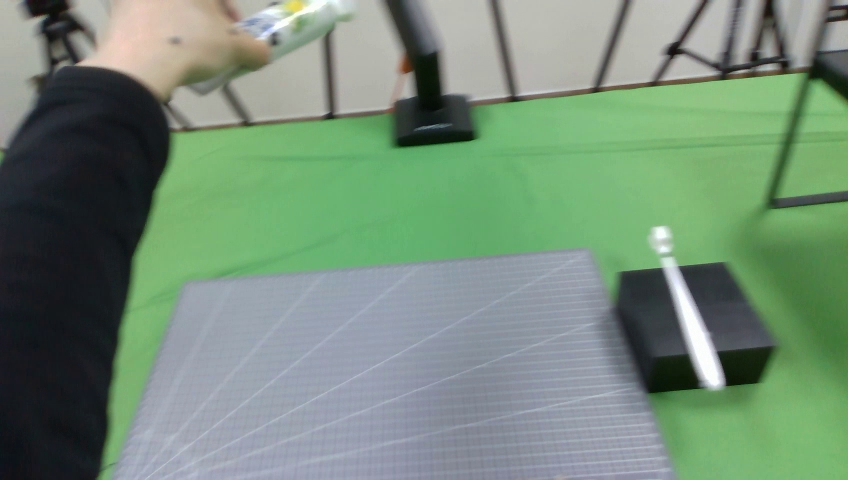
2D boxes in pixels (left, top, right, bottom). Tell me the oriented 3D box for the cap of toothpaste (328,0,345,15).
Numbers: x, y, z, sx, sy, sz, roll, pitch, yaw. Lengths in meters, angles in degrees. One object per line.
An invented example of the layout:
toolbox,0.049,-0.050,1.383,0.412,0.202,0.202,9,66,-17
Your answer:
cap of toothpaste,-0.083,-0.206,0.509,0.037,0.038,0.011,21,48,28

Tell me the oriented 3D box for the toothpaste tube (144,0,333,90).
toothpaste tube,-0.129,-0.162,0.464,0.054,0.035,0.164,28,50,21

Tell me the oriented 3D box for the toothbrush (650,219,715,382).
toothbrush,0.221,0.044,0.522,0.014,0.017,0.180,1,42,4
